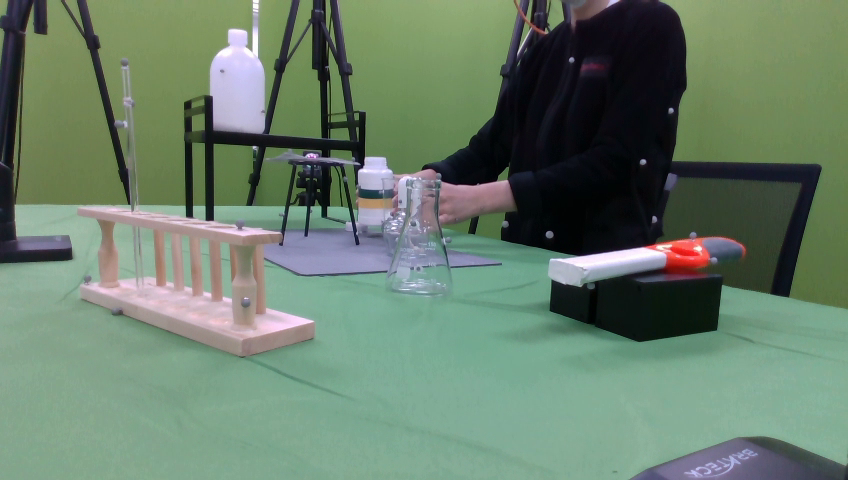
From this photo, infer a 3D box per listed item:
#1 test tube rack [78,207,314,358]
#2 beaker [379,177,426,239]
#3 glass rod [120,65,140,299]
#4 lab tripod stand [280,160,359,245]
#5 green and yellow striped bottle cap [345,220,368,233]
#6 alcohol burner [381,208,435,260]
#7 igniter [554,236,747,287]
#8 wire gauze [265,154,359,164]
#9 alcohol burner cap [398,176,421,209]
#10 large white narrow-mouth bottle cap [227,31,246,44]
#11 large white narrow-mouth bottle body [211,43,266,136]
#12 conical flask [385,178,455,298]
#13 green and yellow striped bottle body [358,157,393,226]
[{"bbox_3d":[-0.196,0.024,0.500,0.241,0.085,0.067,8,8,37],"label":"test tube rack"},{"bbox_3d":[-0.031,-0.054,1.000,0.074,0.100,0.083,-7,9,-39],"label":"beaker"},{"bbox_3d":[-0.249,-0.047,0.513,0.008,0.199,0.008,-1,4,0],"label":"glass rod"},{"bbox_3d":[-0.176,-0.062,0.973,0.148,0.131,0.148,1,7,0],"label":"lab tripod stand"},{"bbox_3d":[-0.130,-0.026,1.169,0.045,0.020,0.045,3,10,0],"label":"green and yellow striped bottle cap"},{"bbox_3d":[-0.023,-0.032,0.871,0.078,0.119,0.078,1,6,0],"label":"alcohol burner"},{"bbox_3d":[0.221,0.017,0.558,0.278,0.025,0.057,-5,15,-39],"label":"igniter"},{"bbox_3d":[-0.181,-0.129,0.969,0.126,0.011,0.121,-1,7,-27],"label":"wire gauze"},{"bbox_3d":[-0.023,-0.068,0.866,0.034,0.048,0.034,-5,8,1],"label":"alcohol burner cap"},{"bbox_3d":[-0.361,-0.388,1.165,0.038,0.024,0.037,1,7,0],"label":"large white narrow-mouth bottle cap"},{"bbox_3d":[-0.361,-0.302,1.176,0.102,0.194,0.102,1,7,0],"label":"large white narrow-mouth bottle body"},{"bbox_3d":[-0.002,-0.004,0.639,0.075,0.122,0.075,2,7,0],"label":"conical flask"},{"bbox_3d":[-0.086,-0.088,1.077,0.063,0.119,0.063,2,11,0],"label":"green and yellow striped bottle body"}]
